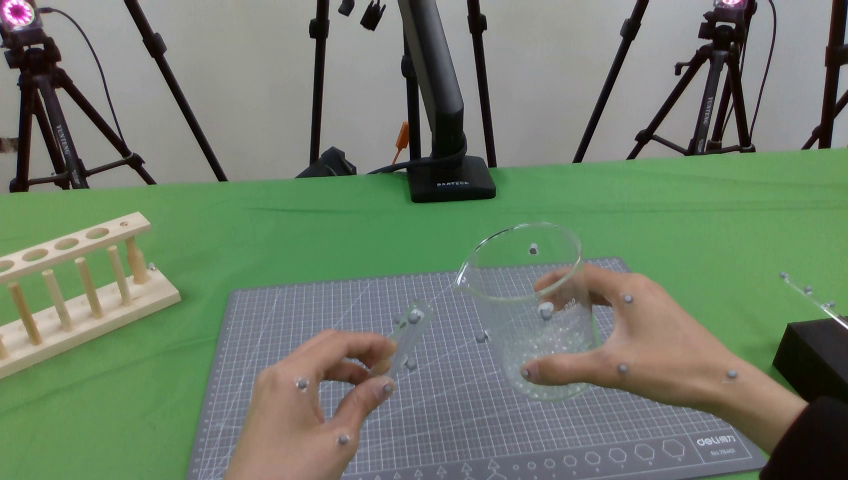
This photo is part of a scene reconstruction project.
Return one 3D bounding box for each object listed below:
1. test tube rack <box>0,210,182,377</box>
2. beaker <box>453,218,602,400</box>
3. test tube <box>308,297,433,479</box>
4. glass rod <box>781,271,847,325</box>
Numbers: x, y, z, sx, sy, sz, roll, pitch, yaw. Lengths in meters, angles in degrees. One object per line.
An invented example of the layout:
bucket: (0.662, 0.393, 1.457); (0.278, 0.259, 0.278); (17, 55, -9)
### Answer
test tube rack: (-0.374, 0.059, 0.586); (0.243, 0.086, 0.066); (-26, 41, -34)
beaker: (0.071, 0.049, 0.393); (0.084, 0.101, 0.073); (-18, 33, 7)
test tube: (-0.036, 0.097, 0.377); (0.017, 0.150, 0.017); (27, 20, -11)
glass rod: (0.382, 0.083, 0.517); (0.008, 0.008, 0.197); (-10, 34, -13)
